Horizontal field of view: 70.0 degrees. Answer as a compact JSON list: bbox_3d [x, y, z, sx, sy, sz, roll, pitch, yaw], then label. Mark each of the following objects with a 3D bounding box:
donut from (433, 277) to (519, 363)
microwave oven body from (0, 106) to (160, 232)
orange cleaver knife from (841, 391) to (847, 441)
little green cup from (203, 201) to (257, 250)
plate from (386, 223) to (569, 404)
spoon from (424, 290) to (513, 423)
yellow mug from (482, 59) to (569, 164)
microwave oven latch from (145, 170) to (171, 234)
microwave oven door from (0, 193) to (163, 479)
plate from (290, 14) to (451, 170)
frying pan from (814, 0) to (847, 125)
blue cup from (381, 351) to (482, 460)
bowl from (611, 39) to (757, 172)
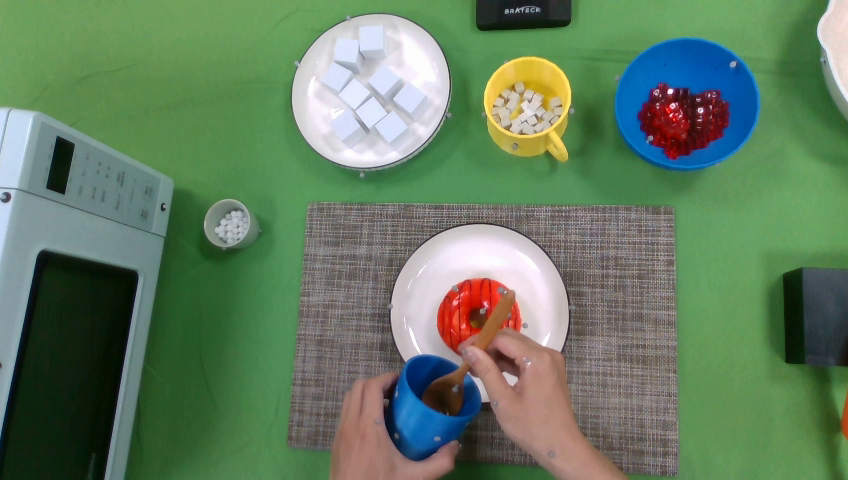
[{"bbox_3d":[0.059,0.091,0.693,0.099,0.048,0.099,-1,83,11],"label":"donut"},{"bbox_3d":[-0.528,0.096,0.684,0.325,0.261,0.440,4,81,10],"label":"microwave oven body"},{"bbox_3d":[0.439,0.190,0.606,0.012,0.077,0.212,1,109,10],"label":"orange cleaver knife"},{"bbox_3d":[-0.246,-0.016,0.776,0.061,0.039,0.061,-1,81,8],"label":"little green cup"},{"bbox_3d":[0.061,0.084,0.705,0.209,0.038,0.208,-2,80,9],"label":"plate"},{"bbox_3d":[0.041,0.115,0.571,0.041,0.195,0.021,28,41,2],"label":"spoon"},{"bbox_3d":[0.130,-0.145,0.724,0.100,0.064,0.130,-35,77,2],"label":"yellow mug"},{"bbox_3d":[-0.349,-0.049,0.780,0.030,0.029,0.079,8,82,10],"label":"microwave oven latch"},{"bbox_3d":[-0.391,0.148,0.648,0.039,0.245,0.354,4,80,10],"label":"microwave oven door"},{"bbox_3d":[-0.066,-0.186,0.777,0.207,0.039,0.207,-2,80,9],"label":"plate"},{"bbox_3d":[0.560,-0.109,0.627,0.306,0.103,0.485,6,73,12],"label":"frying pan"},{"bbox_3d":[0.000,0.175,0.613,0.093,0.101,0.091,14,45,-15],"label":"blue cup"},{"bbox_3d":[0.286,-0.141,0.692,0.151,0.077,0.151,-2,80,9],"label":"bowl"}]
